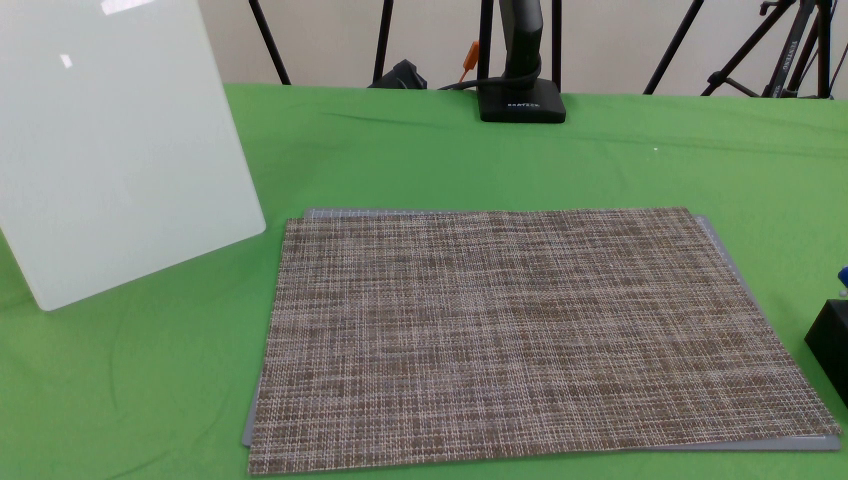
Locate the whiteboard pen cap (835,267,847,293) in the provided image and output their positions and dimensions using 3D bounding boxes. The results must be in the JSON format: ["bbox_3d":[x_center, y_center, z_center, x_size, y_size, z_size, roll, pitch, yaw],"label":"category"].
[{"bbox_3d":[0.369,0.039,0.517,0.018,0.018,0.033,0,37,-1],"label":"whiteboard pen cap"}]

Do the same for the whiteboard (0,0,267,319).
[{"bbox_3d":[-0.316,-0.121,0.584,0.217,0.307,0.142,-24,26,-27],"label":"whiteboard"}]
